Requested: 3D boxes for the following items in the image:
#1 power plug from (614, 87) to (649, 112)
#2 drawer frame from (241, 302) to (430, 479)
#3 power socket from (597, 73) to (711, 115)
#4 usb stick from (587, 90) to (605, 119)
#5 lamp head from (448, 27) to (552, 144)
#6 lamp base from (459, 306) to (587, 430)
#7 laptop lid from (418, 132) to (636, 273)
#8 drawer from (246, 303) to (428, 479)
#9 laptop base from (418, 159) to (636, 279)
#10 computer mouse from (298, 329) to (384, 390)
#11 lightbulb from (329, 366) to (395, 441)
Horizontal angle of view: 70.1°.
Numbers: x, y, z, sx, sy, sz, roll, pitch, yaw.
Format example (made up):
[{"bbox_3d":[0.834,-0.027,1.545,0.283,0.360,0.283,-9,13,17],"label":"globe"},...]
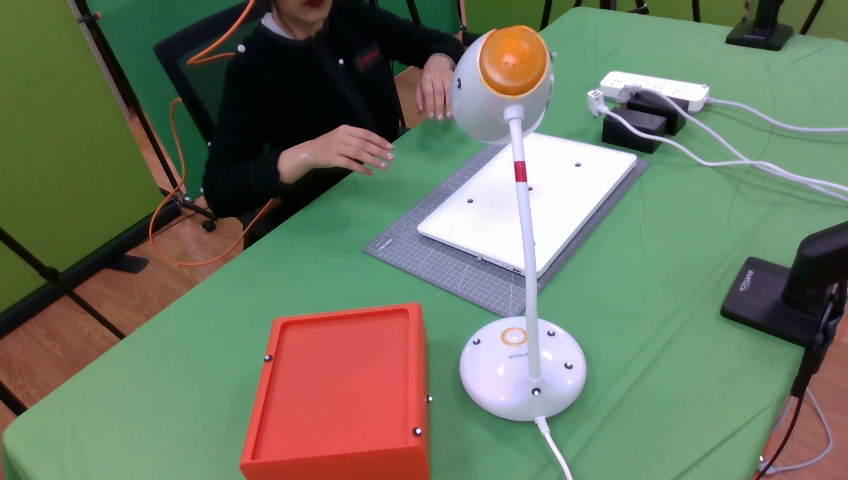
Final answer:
[{"bbox_3d":[0.406,-0.275,1.192,0.035,0.053,0.072,-16,24,-16],"label":"power plug"},{"bbox_3d":[-0.095,0.184,0.740,0.202,0.083,0.212,-7,40,3],"label":"drawer frame"},{"bbox_3d":[0.469,-0.304,1.249,0.225,0.033,0.072,20,49,30],"label":"power socket"},{"bbox_3d":[0.334,-0.258,1.170,0.021,0.059,0.027,-28,44,-5],"label":"usb stick"},{"bbox_3d":[0.082,-0.161,0.618,0.112,0.112,0.123,-10,2,0],"label":"lamp head"},{"bbox_3d":[0.119,0.107,0.713,0.161,0.181,0.178,-14,42,-6],"label":"lamp base"},{"bbox_3d":[0.181,-0.084,1.036,0.239,0.013,0.358,22,49,35],"label":"laptop lid"},{"bbox_3d":[-0.097,0.184,0.743,0.194,0.073,0.210,-6,41,3],"label":"drawer"},{"bbox_3d":[0.185,-0.074,1.042,0.233,0.023,0.355,20,48,35],"label":"laptop base"},{"bbox_3d":[-0.111,0.156,0.799,0.117,0.041,0.062,-15,41,1],"label":"computer mouse"},{"bbox_3d":[-0.080,0.195,0.738,0.060,0.060,0.107,-32,61,-25],"label":"lightbulb"}]
